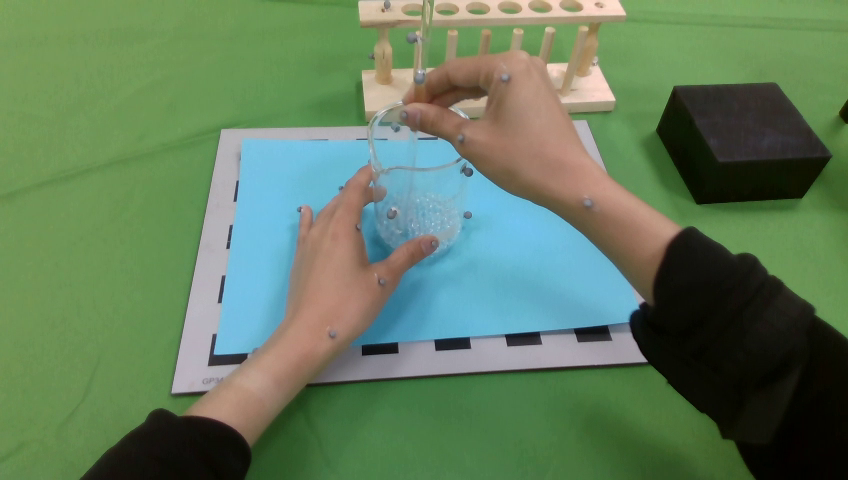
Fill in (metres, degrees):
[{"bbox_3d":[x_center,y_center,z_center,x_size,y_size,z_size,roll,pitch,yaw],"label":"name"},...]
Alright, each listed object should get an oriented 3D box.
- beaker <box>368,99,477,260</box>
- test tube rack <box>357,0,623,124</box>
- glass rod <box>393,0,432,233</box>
[{"bbox_3d":[-0.005,-0.039,0.445,0.073,0.101,0.084,35,56,24],"label":"beaker"},{"bbox_3d":[0.062,-0.169,0.573,0.243,0.086,0.066,-4,50,-6],"label":"test tube rack"},{"bbox_3d":[-0.011,-0.068,0.399,0.008,0.201,0.008,4,52,-5],"label":"glass rod"}]
